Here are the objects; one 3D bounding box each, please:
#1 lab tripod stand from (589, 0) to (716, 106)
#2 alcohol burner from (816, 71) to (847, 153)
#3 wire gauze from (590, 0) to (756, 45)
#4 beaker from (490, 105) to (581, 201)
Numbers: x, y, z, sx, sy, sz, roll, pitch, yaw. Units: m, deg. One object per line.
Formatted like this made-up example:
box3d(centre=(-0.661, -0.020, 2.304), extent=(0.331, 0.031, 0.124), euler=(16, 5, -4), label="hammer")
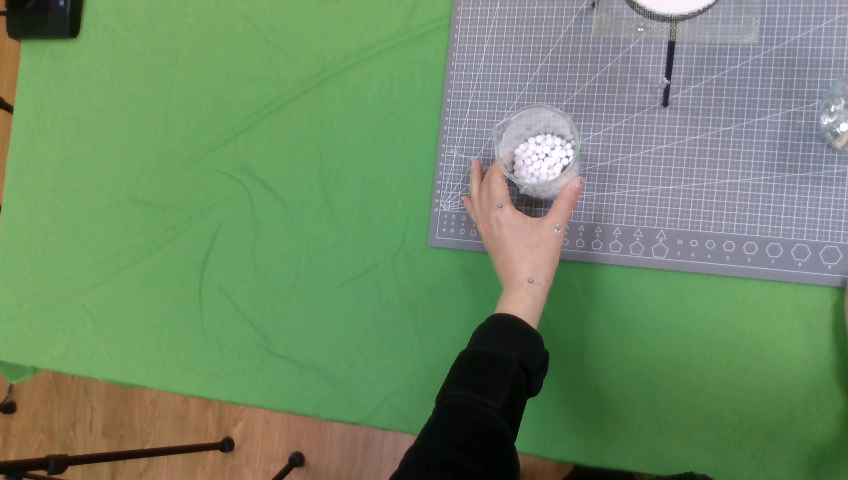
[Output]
box3d(centre=(0.215, -0.209, 0.542), extent=(0.148, 0.132, 0.148), euler=(-1, 87, 14), label="lab tripod stand")
box3d(centre=(0.375, -0.111, 0.501), extent=(0.077, 0.119, 0.078), euler=(-1, 86, 14), label="alcohol burner")
box3d(centre=(0.197, -0.215, 0.477), extent=(0.124, 0.011, 0.121), euler=(5, 90, 16), label="wire gauze")
box3d(centre=(0.109, -0.079, 0.581), extent=(0.083, 0.101, 0.074), euler=(26, 93, 17), label="beaker")
